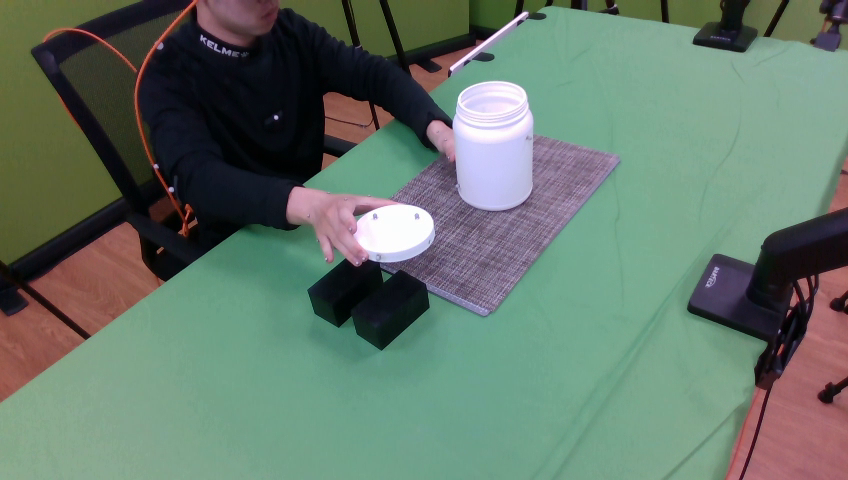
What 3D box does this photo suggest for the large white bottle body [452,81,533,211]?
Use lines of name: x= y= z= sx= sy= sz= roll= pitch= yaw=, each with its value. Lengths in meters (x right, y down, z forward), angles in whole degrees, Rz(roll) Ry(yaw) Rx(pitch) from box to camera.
large white bottle body: x=0.115 y=-0.155 z=1.002 sx=0.130 sy=0.185 sz=0.130 roll=-4 pitch=41 yaw=4

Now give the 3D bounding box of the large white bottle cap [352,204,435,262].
large white bottle cap: x=-0.042 y=-0.012 z=0.837 sx=0.115 sy=0.018 sz=0.114 roll=-4 pitch=37 yaw=4
